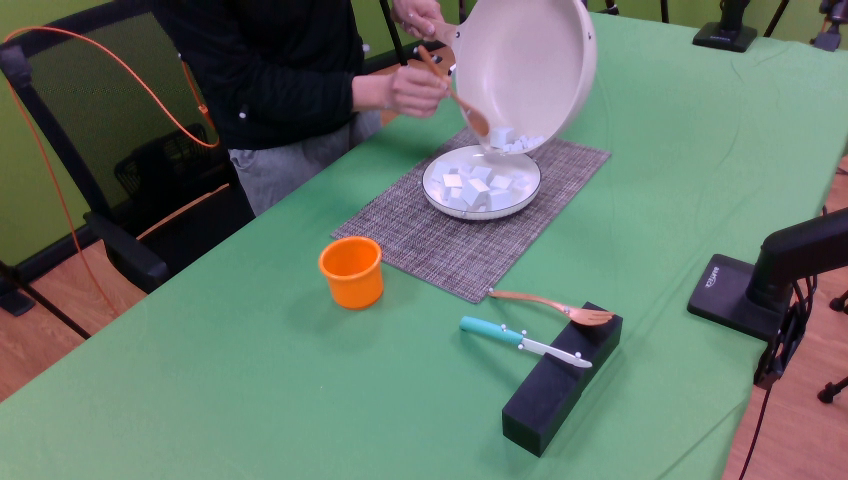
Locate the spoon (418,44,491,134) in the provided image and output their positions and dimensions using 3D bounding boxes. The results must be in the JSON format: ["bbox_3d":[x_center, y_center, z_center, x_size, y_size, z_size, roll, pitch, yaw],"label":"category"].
[{"bbox_3d":[0.050,-0.243,0.983,0.041,0.195,0.021,5,61,48],"label":"spoon"}]

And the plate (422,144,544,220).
[{"bbox_3d":[0.102,-0.097,1.048,0.207,0.039,0.206,-4,40,4],"label":"plate"}]

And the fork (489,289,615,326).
[{"bbox_3d":[0.160,0.085,0.801,0.205,0.019,0.028,11,50,48],"label":"fork"}]

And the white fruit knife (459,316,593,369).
[{"bbox_3d":[0.120,0.127,0.757,0.205,0.027,0.016,12,46,43],"label":"white fruit knife"}]

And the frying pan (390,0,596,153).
[{"bbox_3d":[0.100,-0.342,1.069,0.103,0.307,0.484,-13,39,-45],"label":"frying pan"}]
